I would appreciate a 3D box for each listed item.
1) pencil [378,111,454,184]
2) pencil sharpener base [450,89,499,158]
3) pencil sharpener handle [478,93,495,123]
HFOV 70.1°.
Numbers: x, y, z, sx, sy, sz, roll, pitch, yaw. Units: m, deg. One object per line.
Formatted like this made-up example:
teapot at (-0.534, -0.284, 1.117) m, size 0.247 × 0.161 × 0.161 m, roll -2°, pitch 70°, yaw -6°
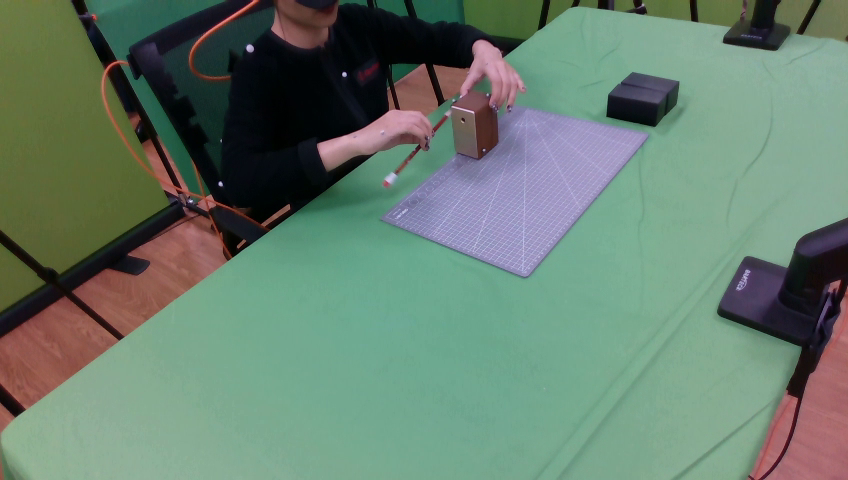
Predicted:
pencil at (-0.011, -0.165, 1.061) m, size 0.012 × 0.012 × 0.194 m, roll 32°, pitch 70°, yaw 38°
pencil sharpener base at (0.099, -0.223, 1.155) m, size 0.061 × 0.107 × 0.077 m, roll 23°, pitch 49°, yaw 33°
pencil sharpener handle at (0.127, -0.262, 1.177) m, size 0.036 × 0.068 × 0.031 m, roll 31°, pitch 53°, yaw 24°
